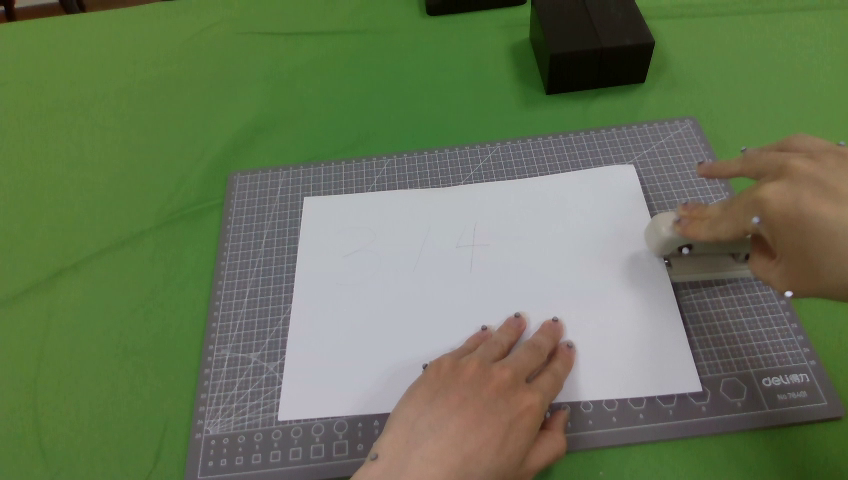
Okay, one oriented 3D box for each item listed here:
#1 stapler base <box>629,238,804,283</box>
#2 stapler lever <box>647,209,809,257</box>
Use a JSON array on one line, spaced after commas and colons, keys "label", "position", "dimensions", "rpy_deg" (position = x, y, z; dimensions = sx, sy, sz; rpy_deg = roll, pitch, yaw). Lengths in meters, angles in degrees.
[{"label": "stapler base", "position": [0.230, 0.008, 0.475], "dimensions": [0.130, 0.024, 0.041], "rpy_deg": [-3, 55, 1]}, {"label": "stapler lever", "position": [0.230, -0.007, 0.457], "dimensions": [0.118, 0.040, 0.026], "rpy_deg": [-5, 55, 3]}]
